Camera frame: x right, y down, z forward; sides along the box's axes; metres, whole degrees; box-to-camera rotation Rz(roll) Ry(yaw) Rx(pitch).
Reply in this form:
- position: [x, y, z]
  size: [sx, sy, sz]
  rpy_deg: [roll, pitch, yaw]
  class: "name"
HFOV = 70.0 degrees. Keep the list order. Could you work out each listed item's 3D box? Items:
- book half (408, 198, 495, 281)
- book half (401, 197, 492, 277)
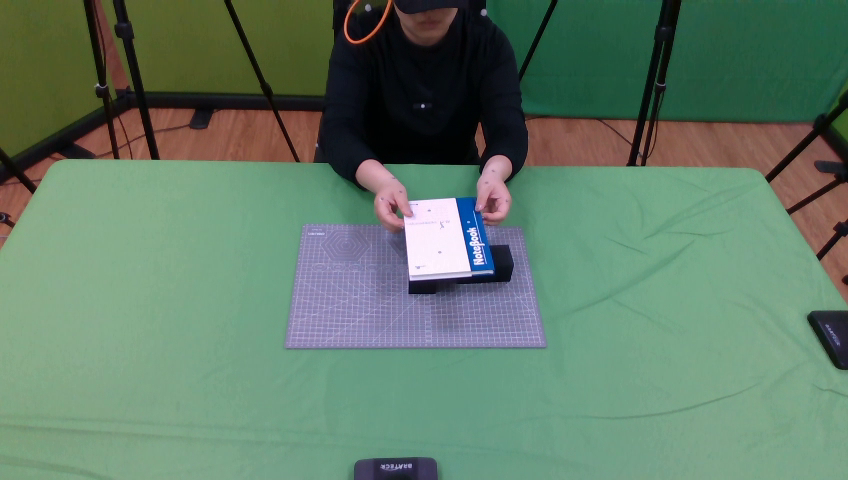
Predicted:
- position: [0.039, -0.007, 1.106]
  size: [0.149, 0.016, 0.209]
  rpy_deg: [-4, 41, -3]
  class: "book half"
- position: [0.035, -0.012, 1.101]
  size: [0.143, 0.007, 0.208]
  rpy_deg: [-4, 41, -3]
  class: "book half"
